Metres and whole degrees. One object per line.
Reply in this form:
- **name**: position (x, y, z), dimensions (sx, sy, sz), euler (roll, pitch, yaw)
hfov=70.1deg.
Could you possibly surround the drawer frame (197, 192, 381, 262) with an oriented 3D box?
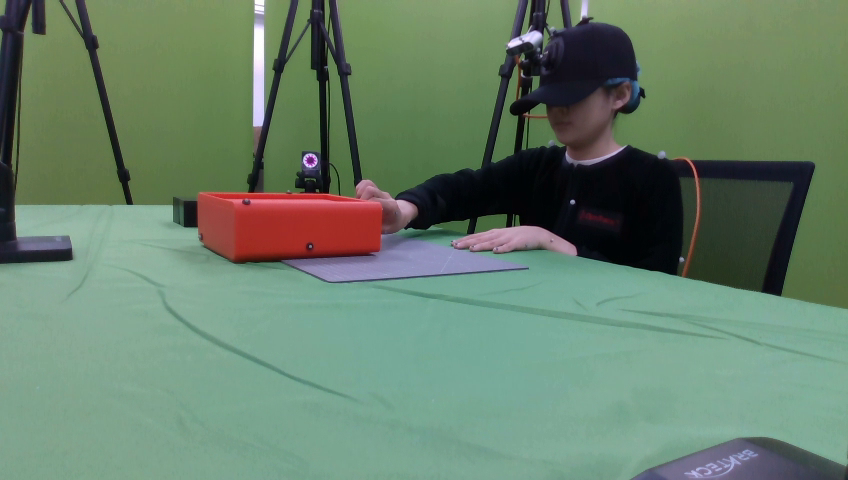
- **drawer frame**: position (-0.202, -0.026, 0.892), dimensions (0.215, 0.082, 0.200), euler (-3, 10, -34)

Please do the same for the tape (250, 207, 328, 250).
- **tape**: position (-0.202, -0.019, 0.902), dimensions (0.117, 0.052, 0.117), euler (3, 8, 0)

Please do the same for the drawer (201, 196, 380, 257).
- **drawer**: position (-0.200, -0.024, 0.894), dimensions (0.213, 0.073, 0.193), euler (-3, 10, -33)
